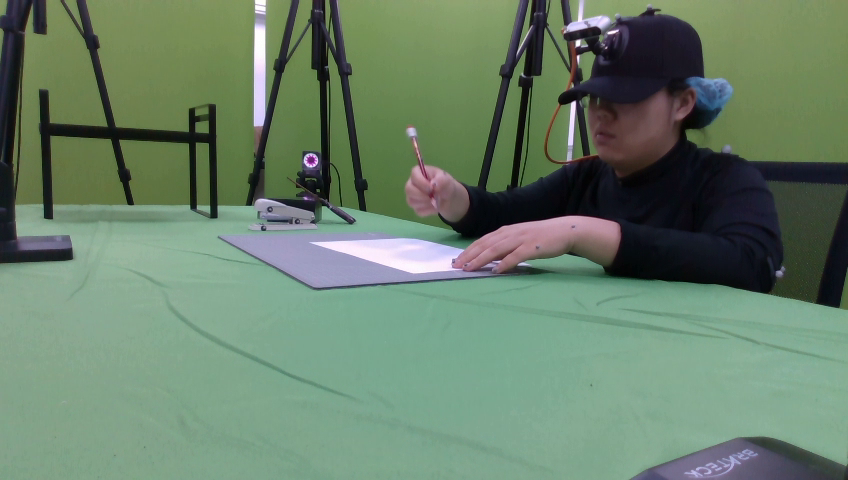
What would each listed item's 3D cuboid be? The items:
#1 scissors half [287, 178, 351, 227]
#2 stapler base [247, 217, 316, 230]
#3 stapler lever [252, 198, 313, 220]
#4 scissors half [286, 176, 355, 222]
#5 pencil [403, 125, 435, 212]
[{"bbox_3d":[-0.232,-0.085,1.318,0.175,0.013,0.040,38,20,4],"label":"scissors half"},{"bbox_3d":[-0.276,-0.033,1.172,0.131,0.024,0.041,0,10,-37],"label":"stapler base"},{"bbox_3d":[-0.273,-0.058,1.170,0.119,0.040,0.026,0,10,-37],"label":"stapler lever"},{"bbox_3d":[-0.229,-0.091,1.337,0.175,0.013,0.040,33,15,-13],"label":"scissors half"},{"bbox_3d":[-0.007,-0.115,0.951,0.012,0.012,0.193,0,50,-22],"label":"pencil"}]
